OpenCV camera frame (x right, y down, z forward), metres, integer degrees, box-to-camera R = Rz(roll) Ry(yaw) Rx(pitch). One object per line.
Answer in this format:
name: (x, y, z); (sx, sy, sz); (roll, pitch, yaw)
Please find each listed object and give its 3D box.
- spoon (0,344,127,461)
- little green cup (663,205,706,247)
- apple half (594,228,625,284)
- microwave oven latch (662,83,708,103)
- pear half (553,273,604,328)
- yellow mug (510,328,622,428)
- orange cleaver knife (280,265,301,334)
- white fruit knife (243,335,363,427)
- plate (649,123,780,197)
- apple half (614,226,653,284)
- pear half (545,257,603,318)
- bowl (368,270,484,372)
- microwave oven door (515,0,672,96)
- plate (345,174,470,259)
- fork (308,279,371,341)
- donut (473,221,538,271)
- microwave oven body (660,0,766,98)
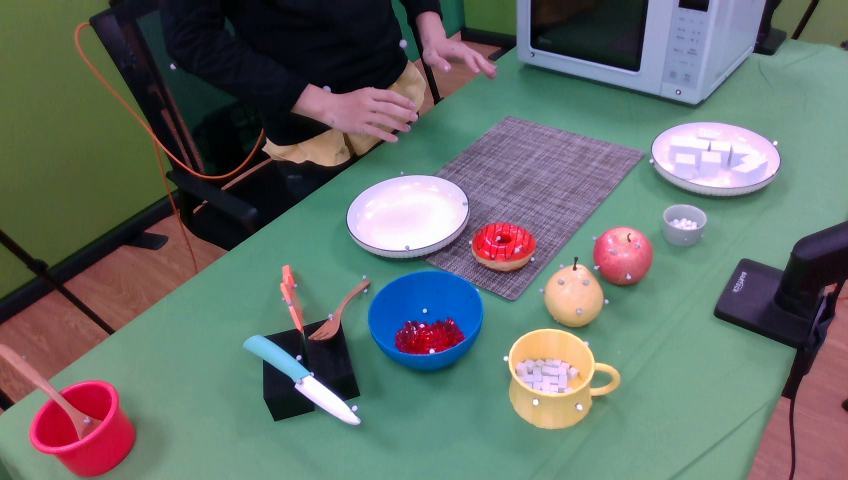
spoon: (-0.433, 0.191, 0.720); (0.194, 0.021, 0.042); (47, 54, -6)
little green cup: (0.396, -0.021, 0.926); (0.061, 0.039, 0.061); (-4, 40, 4)
apple half: (0.259, 0.026, 0.864); (0.033, 0.081, 0.081); (-3, 40, 0)
microwave oven latch: (0.517, -0.296, 1.204); (0.078, 0.029, 0.030); (27, 52, 35)
pear half: (0.208, 0.086, 0.791); (0.071, 0.088, 0.031); (-14, 39, -15)
yellow mug: (0.168, 0.164, 0.722); (0.130, 0.064, 0.099); (0, 40, 8)
orange cleaver knife: (-0.188, 0.081, 0.862); (0.012, 0.077, 0.210); (-20, 12, -9)
white fruit knife: (-0.148, 0.167, 0.729); (0.206, 0.016, 0.027); (27, 80, 31)
plate: (0.497, -0.135, 1.046); (0.207, 0.039, 0.206); (-4, 40, 4)
apple half: (0.298, 0.023, 0.864); (0.053, 0.075, 0.080); (-3, 37, 1)
pear half: (0.197, 0.056, 0.811); (0.076, 0.110, 0.055); (-14, 41, -13)
bowl: (0.006, 0.118, 0.792); (0.151, 0.077, 0.150); (-5, 40, 4)
microwave oven door: (0.343, -0.454, 1.259); (0.353, 0.245, 0.039); (26, 51, 33)
plate: (-0.026, -0.037, 1.004); (0.209, 0.038, 0.208); (-4, 40, 4)
fork: (-0.109, 0.093, 0.832); (0.028, 0.018, 0.207); (-3, 19, 15)
donut: (0.123, 0.008, 0.923); (0.099, 0.048, 0.098); (-4, 38, 3)
microwave oven body: (0.472, -0.513, 1.317); (0.438, 0.261, 0.327); (26, 51, 34)
